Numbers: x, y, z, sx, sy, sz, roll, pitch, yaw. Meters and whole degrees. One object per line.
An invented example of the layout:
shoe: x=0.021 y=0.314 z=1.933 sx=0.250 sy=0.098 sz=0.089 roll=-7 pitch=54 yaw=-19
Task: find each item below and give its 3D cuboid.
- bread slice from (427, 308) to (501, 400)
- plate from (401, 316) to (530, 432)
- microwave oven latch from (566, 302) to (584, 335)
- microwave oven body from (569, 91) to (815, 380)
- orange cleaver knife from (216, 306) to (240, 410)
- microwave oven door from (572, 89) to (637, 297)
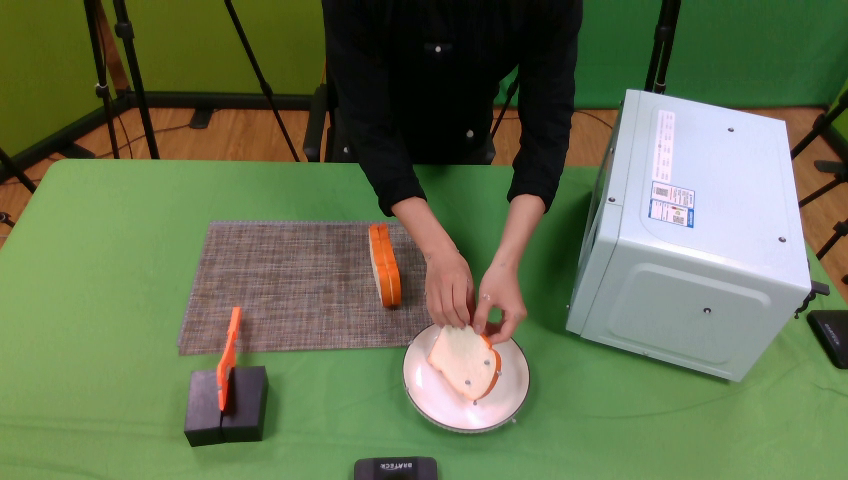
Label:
bread slice: x=0.065 y=0.182 z=0.949 sx=0.018 sy=0.107 sz=0.133 roll=4 pitch=23 yaw=-41
plate: x=0.066 y=0.217 z=0.982 sx=0.208 sy=0.039 sz=0.206 roll=2 pitch=46 yaw=-2
microwave oven latch: x=0.268 y=0.126 z=1.059 sx=0.030 sy=0.029 sz=0.079 roll=16 pitch=46 yaw=12
microwave oven body: x=0.468 y=-0.022 z=1.082 sx=0.325 sy=0.261 sz=0.440 roll=15 pitch=46 yaw=11
orange cleaver knife: x=-0.307 y=0.180 z=0.957 sx=0.012 sy=0.077 sz=0.210 roll=-2 pitch=25 yaw=-8
microwave oven door: x=0.343 y=-0.091 z=1.133 sx=0.039 sy=0.245 sz=0.354 roll=15 pitch=47 yaw=11
